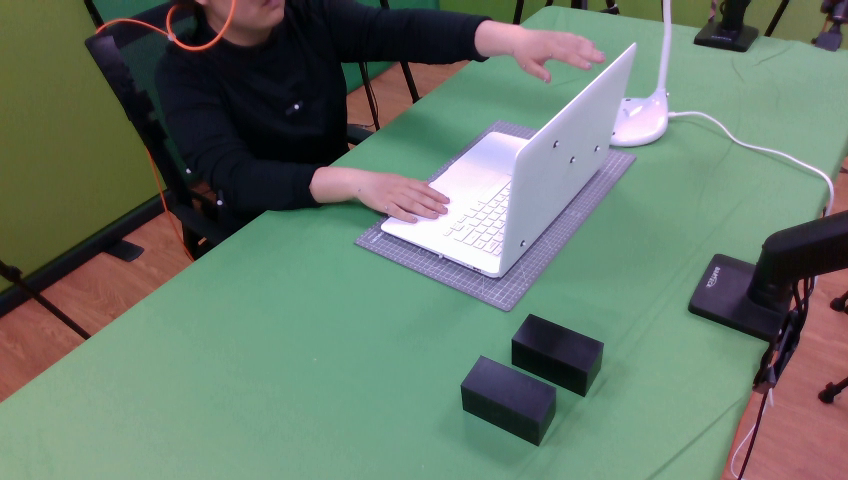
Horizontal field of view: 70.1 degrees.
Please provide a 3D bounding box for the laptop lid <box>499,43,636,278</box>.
[{"bbox_3d":[0.217,-0.121,0.898,0.013,0.242,0.358,28,50,25],"label":"laptop lid"}]

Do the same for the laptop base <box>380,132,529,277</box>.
[{"bbox_3d":[0.122,-0.077,1.043,0.233,0.023,0.355,20,47,33],"label":"laptop base"}]

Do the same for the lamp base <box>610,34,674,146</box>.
[{"bbox_3d":[0.392,-0.291,1.129,0.180,0.181,0.159,-11,41,-8],"label":"lamp base"}]
